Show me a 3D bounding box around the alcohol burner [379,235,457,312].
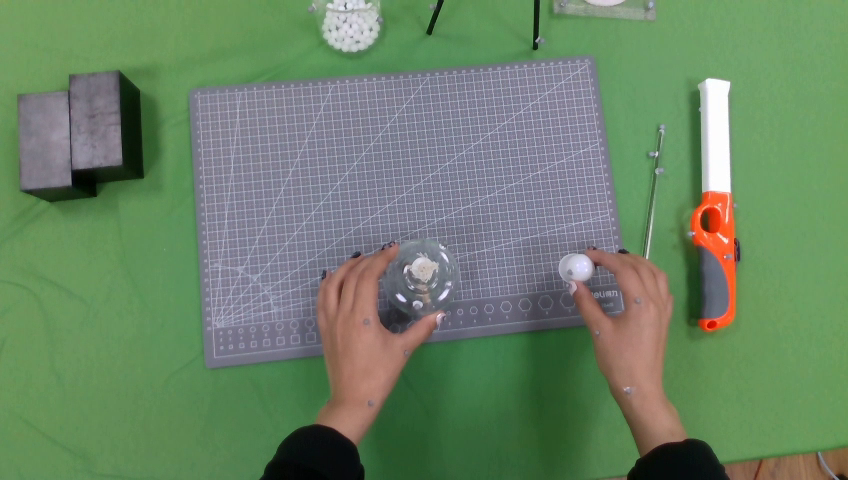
[{"bbox_3d":[-0.005,0.030,0.589,0.078,0.119,0.077,1,80,-3],"label":"alcohol burner"}]

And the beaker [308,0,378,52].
[{"bbox_3d":[-0.082,-0.247,0.633,0.084,0.100,0.074,40,82,3],"label":"beaker"}]

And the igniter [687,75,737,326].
[{"bbox_3d":[0.313,-0.045,0.660,0.057,0.025,0.275,5,82,-12],"label":"igniter"}]

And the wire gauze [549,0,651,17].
[{"bbox_3d":[0.201,-0.318,0.702,0.125,0.011,0.121,1,81,-1],"label":"wire gauze"}]

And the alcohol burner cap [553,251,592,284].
[{"bbox_3d":[0.151,0.027,0.608,0.034,0.048,0.034,0,82,-2],"label":"alcohol burner cap"}]

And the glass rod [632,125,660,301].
[{"bbox_3d":[0.244,-0.032,0.666,0.008,0.008,0.199,11,82,-1],"label":"glass rod"}]

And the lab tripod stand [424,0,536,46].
[{"bbox_3d":[0.067,-0.278,0.627,0.148,0.132,0.148,0,81,-1],"label":"lab tripod stand"}]
